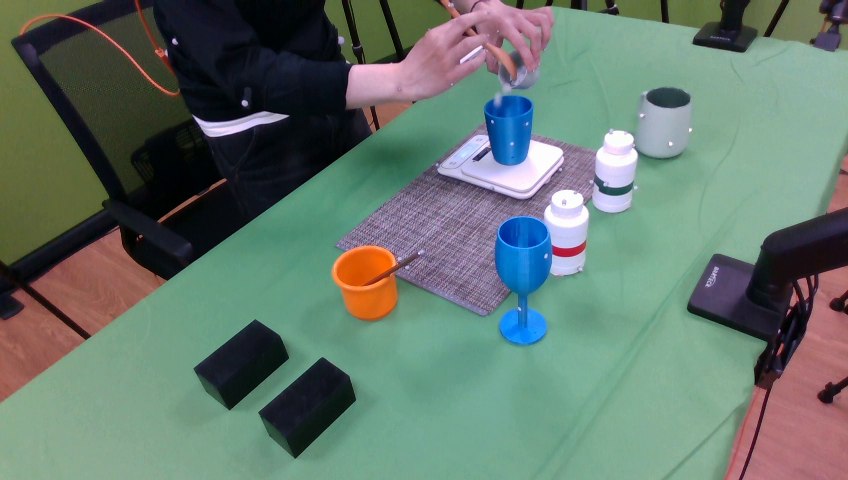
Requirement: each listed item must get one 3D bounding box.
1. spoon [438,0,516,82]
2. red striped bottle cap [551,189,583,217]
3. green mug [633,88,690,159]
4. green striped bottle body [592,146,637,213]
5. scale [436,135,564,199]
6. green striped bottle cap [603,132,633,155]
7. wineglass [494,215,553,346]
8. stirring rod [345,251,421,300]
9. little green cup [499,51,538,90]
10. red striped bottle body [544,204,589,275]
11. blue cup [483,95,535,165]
[{"bbox_3d":[0.084,-0.313,0.938,0.021,0.195,0.041,-33,38,36],"label":"spoon"},{"bbox_3d":[0.199,-0.052,0.843,0.044,0.018,0.044,-2,42,2],"label":"red striped bottle cap"},{"bbox_3d":[0.423,-0.217,1.099,0.093,0.105,0.124,-16,41,-9],"label":"green mug"},{"bbox_3d":[0.307,-0.108,0.976,0.063,0.120,0.063,-4,41,4],"label":"green striped bottle body"},{"bbox_3d":[0.137,-0.142,1.101,0.199,0.032,0.149,22,48,30],"label":"scale"},{"bbox_3d":[0.301,-0.149,0.938,0.044,0.020,0.044,-3,39,3],"label":"green striped bottle cap"},{"bbox_3d":[0.126,0.055,0.770,0.074,0.173,0.073,-4,40,4],"label":"wineglass"},{"bbox_3d":[-0.060,0.051,0.829,0.175,0.006,0.014,-32,18,44],"label":"stirring rod"},{"bbox_3d":[0.158,-0.278,1.002,0.039,0.061,0.061,-1,31,-38],"label":"little green cup"},{"bbox_3d":[0.206,-0.011,0.877,0.063,0.120,0.062,-5,41,5],"label":"red striped bottle body"},{"bbox_3d":[0.148,-0.188,1.053,0.092,0.100,0.092,-5,39,5],"label":"blue cup"}]
